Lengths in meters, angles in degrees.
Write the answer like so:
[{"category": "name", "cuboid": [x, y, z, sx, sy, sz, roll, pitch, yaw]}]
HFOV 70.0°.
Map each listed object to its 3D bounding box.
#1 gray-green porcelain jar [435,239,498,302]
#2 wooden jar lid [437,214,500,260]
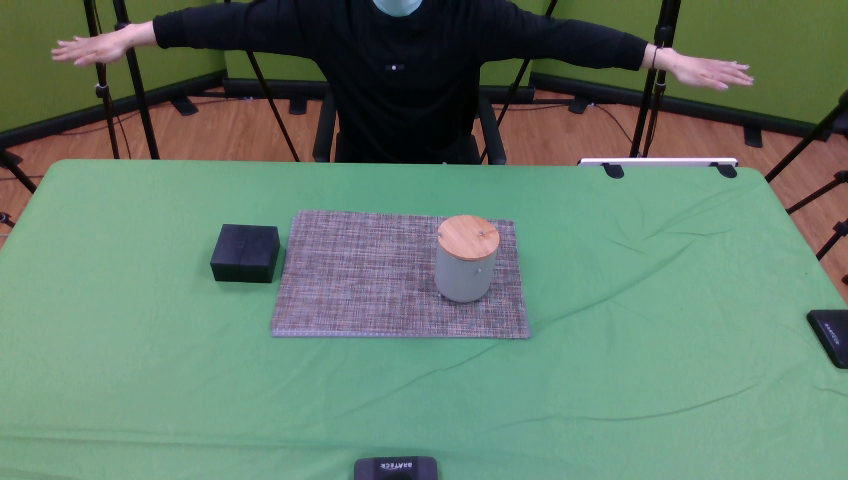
[{"category": "gray-green porcelain jar", "cuboid": [0.073, 0.041, 1.083, 0.106, 0.127, 0.105, 2, 46, -2]}, {"category": "wooden jar lid", "cuboid": [0.076, -0.002, 1.039, 0.108, 0.021, 0.107, 2, 44, -1]}]
